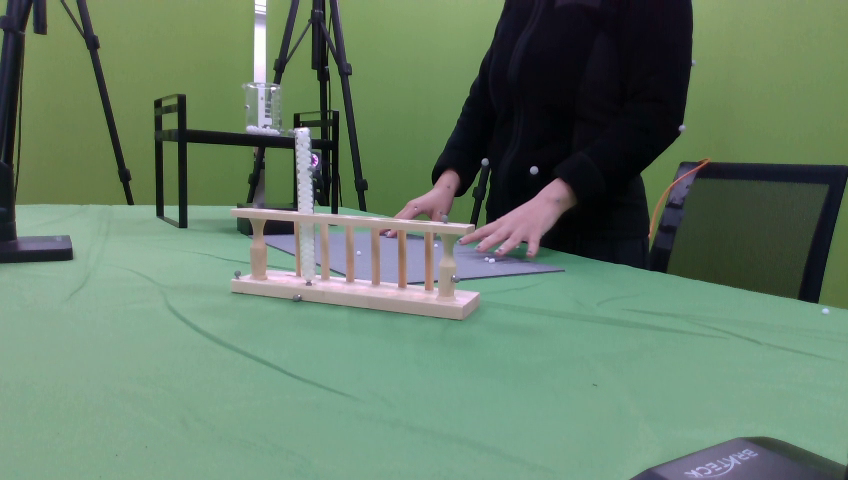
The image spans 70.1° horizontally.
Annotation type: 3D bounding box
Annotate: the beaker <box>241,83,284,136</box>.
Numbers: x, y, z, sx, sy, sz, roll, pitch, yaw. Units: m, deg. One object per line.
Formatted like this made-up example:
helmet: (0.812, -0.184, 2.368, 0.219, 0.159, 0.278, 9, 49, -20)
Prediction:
beaker: (-0.323, -0.260, 1.208, 0.084, 0.100, 0.073, -4, 9, -37)

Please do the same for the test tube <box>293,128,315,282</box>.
test tube: (-0.116, -0.033, 0.587, 0.017, 0.150, 0.017, 0, 9, 0)

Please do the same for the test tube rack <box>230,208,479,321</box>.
test tube rack: (-0.069, 0.017, 0.598, 0.242, 0.085, 0.067, 5, 8, 18)
